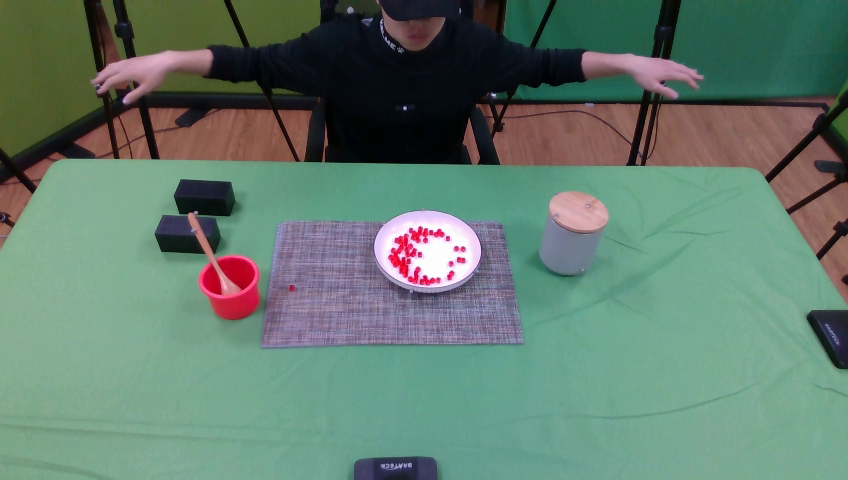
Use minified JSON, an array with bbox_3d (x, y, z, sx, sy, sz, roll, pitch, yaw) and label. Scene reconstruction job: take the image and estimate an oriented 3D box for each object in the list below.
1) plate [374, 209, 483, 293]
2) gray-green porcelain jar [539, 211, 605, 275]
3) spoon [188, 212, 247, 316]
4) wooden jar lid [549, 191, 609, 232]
[{"bbox_3d":[0.008,0.024,1.158,0.208,0.039,0.206,2,46,-2],"label":"plate"},{"bbox_3d":[0.278,-0.004,1.148,0.106,0.127,0.105,2,46,-2],"label":"gray-green porcelain jar"},{"bbox_3d":[-0.358,0.042,1.036,0.041,0.021,0.194,-28,93,-21],"label":"spoon"},{"bbox_3d":[0.280,-0.049,1.101,0.108,0.021,0.107,2,44,-2],"label":"wooden jar lid"}]
